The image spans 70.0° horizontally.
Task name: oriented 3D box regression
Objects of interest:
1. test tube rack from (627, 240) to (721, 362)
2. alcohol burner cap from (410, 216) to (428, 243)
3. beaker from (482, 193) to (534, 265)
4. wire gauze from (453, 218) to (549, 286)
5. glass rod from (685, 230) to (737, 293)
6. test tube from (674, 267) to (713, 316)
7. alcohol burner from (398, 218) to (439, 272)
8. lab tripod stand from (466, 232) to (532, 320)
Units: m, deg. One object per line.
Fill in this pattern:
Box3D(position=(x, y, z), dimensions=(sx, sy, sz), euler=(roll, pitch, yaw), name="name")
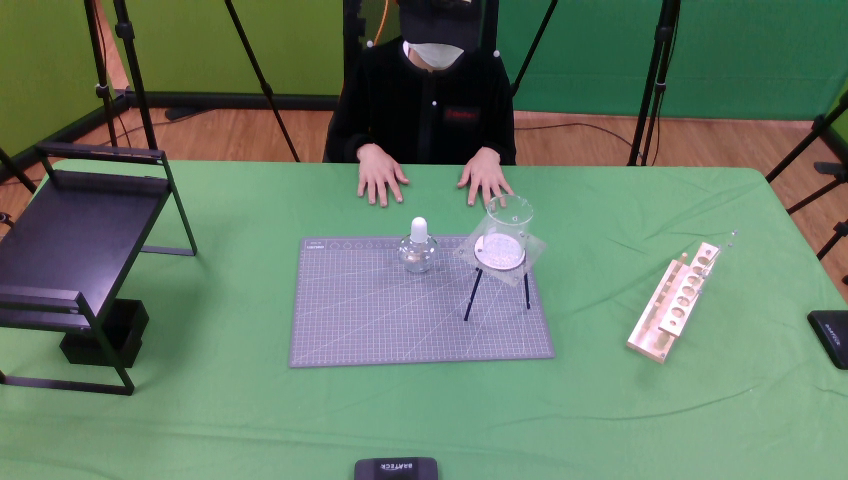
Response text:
Box3D(position=(0.452, 0.098, 1.087), dimensions=(0.066, 0.085, 0.242), euler=(28, 51, 22), name="test tube rack")
Box3D(position=(-0.009, -0.022, 1.099), dimensions=(0.034, 0.048, 0.033), euler=(2, 41, -1), name="alcohol burner cap")
Box3D(position=(0.135, -0.016, 0.979), dimensions=(0.073, 0.101, 0.084), euler=(35, 52, 28), name="beaker")
Box3D(position=(0.129, 0.014, 1.019), dimensions=(0.124, 0.011, 0.121), euler=(26, 47, 25), name="wire gauze")
Box3D(position=(0.495, 0.042, 1.051), dimensions=(0.008, 0.200, 0.008), euler=(2, 55, -2), name="glass rod")
Box3D(position=(0.445, 0.098, 1.017), dimensions=(0.017, 0.151, 0.017), euler=(4, 48, -4), name="test tube")
Box3D(position=(-0.010, 0.004, 1.124), dimensions=(0.078, 0.120, 0.077), euler=(1, 47, 0), name="alcohol burner")
Box3D(position=(0.125, 0.059, 1.065), dimensions=(0.148, 0.132, 0.147), euler=(1, 45, 0), name="lab tripod stand")
